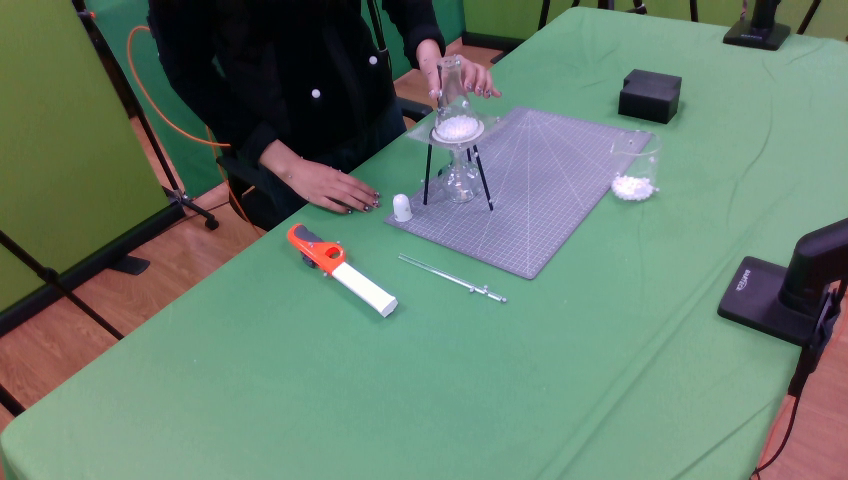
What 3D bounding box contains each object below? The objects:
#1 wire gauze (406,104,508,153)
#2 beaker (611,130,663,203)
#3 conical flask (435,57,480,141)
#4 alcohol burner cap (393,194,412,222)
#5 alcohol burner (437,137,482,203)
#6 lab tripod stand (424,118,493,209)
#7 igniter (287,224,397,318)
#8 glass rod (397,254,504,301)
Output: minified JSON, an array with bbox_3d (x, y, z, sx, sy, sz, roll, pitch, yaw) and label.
[{"bbox_3d":[0.054,-0.183,0.997,0.120,0.011,0.125,25,53,38],"label":"wire gauze"},{"bbox_3d":[0.346,-0.118,0.998,0.084,0.101,0.073,-17,40,-7],"label":"beaker"},{"bbox_3d":[0.046,-0.224,0.954,0.075,0.122,0.075,-7,39,6],"label":"conical flask"},{"bbox_3d":[-0.039,-0.057,1.038,0.034,0.048,0.033,-5,39,5],"label":"alcohol burner cap"},{"bbox_3d":[0.060,-0.125,1.045,0.078,0.119,0.077,-5,39,4],"label":"alcohol burner"},{"bbox_3d":[0.061,-0.133,1.039,0.148,0.132,0.147,-6,38,6],"label":"lab tripod stand"},{"bbox_3d":[-0.139,0.042,0.958,0.057,0.025,0.274,-42,49,-19],"label":"igniter"},{"bbox_3d":[0.036,0.054,0.922,0.198,0.008,0.008,22,50,31],"label":"glass rod"}]
